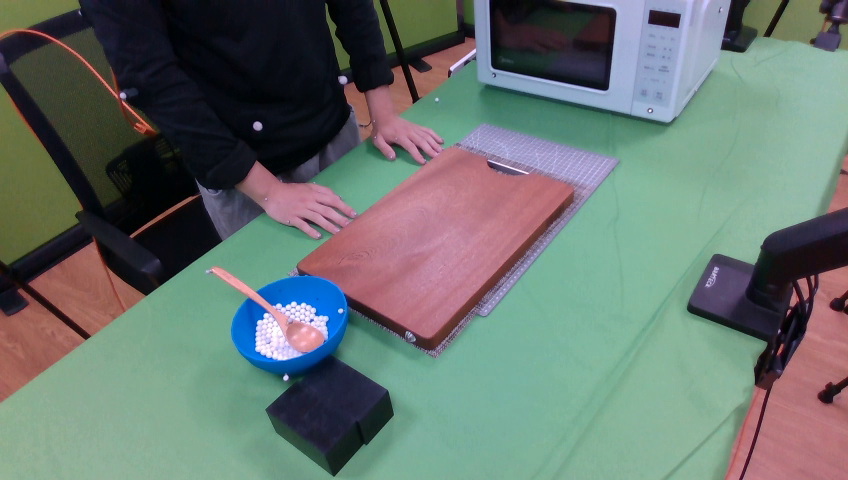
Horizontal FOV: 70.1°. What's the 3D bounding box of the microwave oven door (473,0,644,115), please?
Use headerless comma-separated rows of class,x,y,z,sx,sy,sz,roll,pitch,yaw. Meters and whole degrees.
microwave oven door,0.257,-0.396,1.199,0.353,0.245,0.039,21,48,29

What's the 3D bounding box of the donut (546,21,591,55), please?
donut,0.310,-0.435,1.299,0.099,0.048,0.098,-22,34,16

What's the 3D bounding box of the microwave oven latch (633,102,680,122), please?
microwave oven latch,0.444,-0.249,1.157,0.078,0.029,0.030,21,49,30

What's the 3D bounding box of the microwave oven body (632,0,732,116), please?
microwave oven body,0.377,-0.462,1.267,0.438,0.261,0.327,21,48,30

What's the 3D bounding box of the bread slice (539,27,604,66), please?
bread slice,0.331,-0.431,1.340,0.104,0.019,0.132,24,60,42

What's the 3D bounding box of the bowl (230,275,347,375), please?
bowl,-0.171,0.125,0.802,0.151,0.077,0.150,-4,40,4

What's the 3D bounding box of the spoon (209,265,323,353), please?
spoon,-0.213,0.087,0.806,0.193,0.021,0.042,37,56,11

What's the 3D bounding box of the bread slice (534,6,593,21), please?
bread slice,0.298,-0.480,1.278,0.106,0.018,0.134,8,29,22
